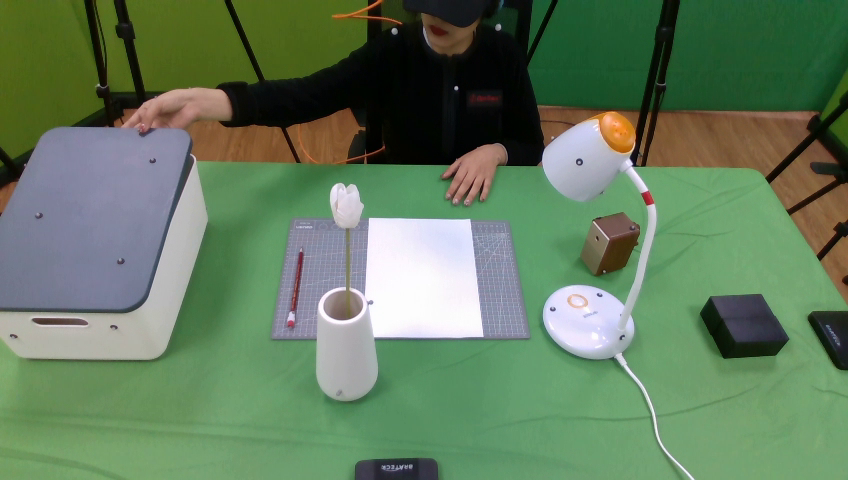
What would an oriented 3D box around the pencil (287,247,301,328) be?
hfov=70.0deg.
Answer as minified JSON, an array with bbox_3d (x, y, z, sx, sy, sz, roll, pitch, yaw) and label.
[{"bbox_3d":[-0.236,0.081,1.107,0.012,0.012,0.193,0,45,-4],"label":"pencil"}]

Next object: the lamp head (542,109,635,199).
[{"bbox_3d":[0.253,-0.131,0.893,0.113,0.123,0.112,10,66,-24],"label":"lamp head"}]

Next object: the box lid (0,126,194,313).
[{"bbox_3d":[-0.534,-0.049,0.970,0.263,0.015,0.369,1,55,-2],"label":"box lid"}]

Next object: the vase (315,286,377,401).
[{"bbox_3d":[-0.119,0.159,0.911,0.098,0.201,0.097,2,47,-2],"label":"vase"}]

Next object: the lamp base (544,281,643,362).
[{"bbox_3d":[0.304,0.095,1.014,0.161,0.181,0.178,-24,54,-24],"label":"lamp base"}]

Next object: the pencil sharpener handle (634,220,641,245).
[{"bbox_3d":[0.405,-0.015,1.161,0.031,0.068,0.035,-15,44,-17],"label":"pencil sharpener handle"}]

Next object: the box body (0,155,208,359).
[{"bbox_3d":[-0.541,0.021,1.042,0.254,0.161,0.361,1,46,-3],"label":"box body"}]

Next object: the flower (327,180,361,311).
[{"bbox_3d":[-0.110,0.086,0.867,0.044,0.363,0.038,22,34,36],"label":"flower"}]

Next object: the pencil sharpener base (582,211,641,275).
[{"bbox_3d":[0.357,0.005,1.156,0.077,0.107,0.061,-15,48,-18],"label":"pencil sharpener base"}]
